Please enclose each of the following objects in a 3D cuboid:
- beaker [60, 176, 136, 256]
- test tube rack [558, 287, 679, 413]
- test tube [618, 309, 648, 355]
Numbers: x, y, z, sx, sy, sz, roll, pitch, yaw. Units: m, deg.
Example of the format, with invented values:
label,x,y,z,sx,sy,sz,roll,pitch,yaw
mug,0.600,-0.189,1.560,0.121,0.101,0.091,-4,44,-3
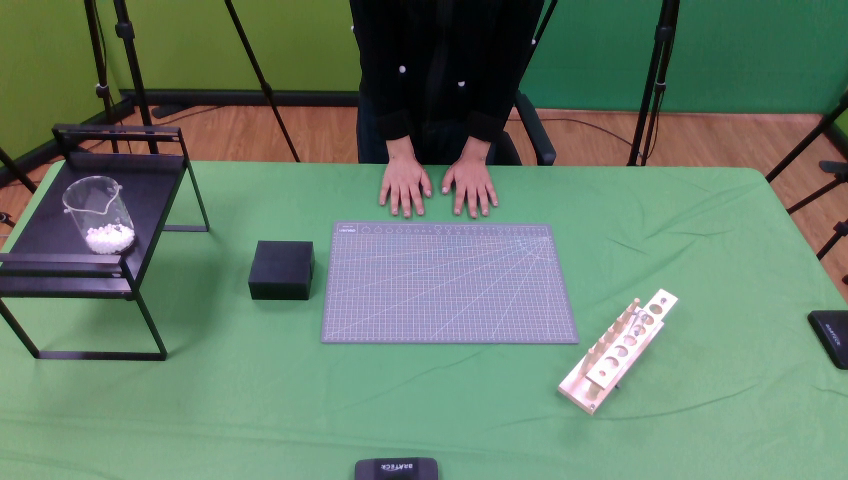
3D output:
label,x,y,z,sx,sy,sz,roll,pitch,yaw
beaker,-0.470,-0.031,0.888,0.074,0.101,0.083,-31,56,-28
test tube rack,0.326,0.170,1.009,0.066,0.085,0.242,35,54,26
test tube,0.327,0.154,0.955,0.017,0.151,0.017,-1,51,1
